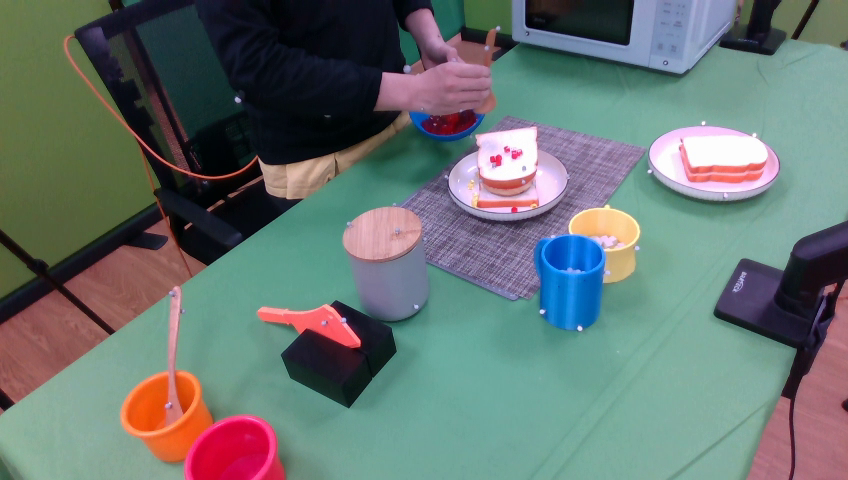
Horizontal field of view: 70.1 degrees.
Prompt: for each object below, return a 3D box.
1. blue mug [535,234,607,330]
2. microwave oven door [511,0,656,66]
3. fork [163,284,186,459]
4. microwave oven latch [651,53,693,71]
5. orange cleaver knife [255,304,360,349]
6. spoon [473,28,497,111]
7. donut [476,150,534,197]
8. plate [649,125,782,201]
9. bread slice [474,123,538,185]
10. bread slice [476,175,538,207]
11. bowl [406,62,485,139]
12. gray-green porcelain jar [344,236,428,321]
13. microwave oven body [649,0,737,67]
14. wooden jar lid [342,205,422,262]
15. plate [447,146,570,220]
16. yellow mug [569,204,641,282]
[{"bbox_3d":[0.190,0.048,0.824,0.082,0.106,0.115,-26,44,-21],"label":"blue mug"},{"bbox_3d":[0.351,-0.539,1.349,0.353,0.245,0.039,24,50,31],"label":"microwave oven door"},{"bbox_3d":[-0.302,0.157,0.733,0.028,0.019,0.207,-4,84,16],"label":"fork"},{"bbox_3d":[0.532,-0.386,1.301,0.078,0.029,0.030,27,52,34],"label":"microwave oven latch"},{"bbox_3d":[-0.161,0.115,0.813,0.210,0.077,0.012,-4,32,47],"label":"orange cleaver knife"},{"bbox_3d":[0.099,-0.262,0.950,0.042,0.194,0.021,-15,63,-4],"label":"spoon"},{"bbox_3d":[0.138,-0.116,1.025,0.099,0.048,0.098,-8,55,13],"label":"donut"},{"bbox_3d":[0.493,-0.127,1.036,0.207,0.039,0.206,-4,41,4],"label":"plate"},{"bbox_3d":[0.141,-0.143,1.008,0.107,0.018,0.133,-8,47,8],"label":"bread slice"},{"bbox_3d":[0.144,-0.104,1.058,0.105,0.019,0.131,-1,43,6],"label":"bread slice"},{"bbox_3d":[0.047,-0.246,1.129,0.151,0.077,0.151,-3,72,8],"label":"bowl"},{"bbox_3d":[-0.049,0.042,0.849,0.106,0.127,0.105,-4,41,4],"label":"gray-green porcelain jar"},{"bbox_3d":[0.475,-0.602,1.411,0.438,0.261,0.327,23,50,32],"label":"microwave oven body"},{"bbox_3d":[-0.055,-0.006,0.808,0.108,0.021,0.108,-6,40,6],"label":"wooden jar lid"},{"bbox_3d":[0.145,-0.098,1.046,0.209,0.038,0.208,-4,41,4],"label":"plate"},{"bbox_3d":[0.268,-0.005,0.904,0.099,0.064,0.130,7,41,15],"label":"yellow mug"}]
